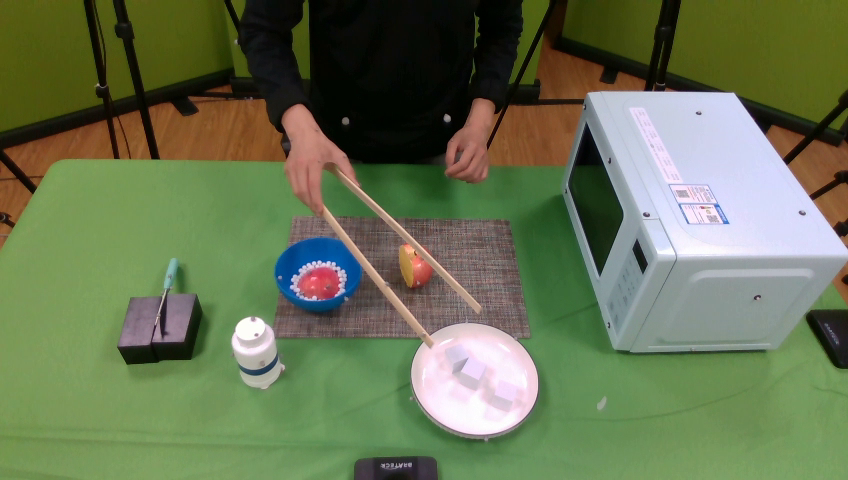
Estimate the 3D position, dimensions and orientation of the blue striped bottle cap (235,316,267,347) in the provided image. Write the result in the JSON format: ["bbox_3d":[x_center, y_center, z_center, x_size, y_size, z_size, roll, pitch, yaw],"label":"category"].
[{"bbox_3d":[-0.259,0.137,0.907,0.044,0.021,0.044,2,43,-2],"label":"blue striped bottle cap"}]

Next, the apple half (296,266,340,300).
[{"bbox_3d":[-0.186,0.070,1.067,0.081,0.033,0.081,2,48,-2],"label":"apple half"}]

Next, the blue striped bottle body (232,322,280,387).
[{"bbox_3d":[-0.262,0.171,0.944,0.063,0.121,0.062,2,46,-2],"label":"blue striped bottle body"}]

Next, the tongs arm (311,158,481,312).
[{"bbox_3d":[-0.050,-0.016,0.995,0.386,0.028,0.028,42,66,17],"label":"tongs arm"}]

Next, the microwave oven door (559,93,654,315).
[{"bbox_3d":[0.327,-0.074,1.123,0.039,0.245,0.353,0,46,-5],"label":"microwave oven door"}]

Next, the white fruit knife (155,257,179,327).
[{"bbox_3d":[-0.440,0.085,1.037,0.016,0.027,0.206,10,26,-19],"label":"white fruit knife"}]

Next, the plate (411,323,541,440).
[{"bbox_3d":[0.082,0.228,0.976,0.208,0.039,0.206,2,45,-2],"label":"plate"}]

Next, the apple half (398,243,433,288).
[{"bbox_3d":[-0.012,0.047,1.115,0.053,0.075,0.080,-11,44,-19],"label":"apple half"}]

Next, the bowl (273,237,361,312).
[{"bbox_3d":[-0.186,0.074,1.069,0.151,0.077,0.150,3,46,-3],"label":"bowl"}]

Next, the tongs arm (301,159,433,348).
[{"bbox_3d":[-0.093,0.012,0.970,0.051,0.026,0.383,-33,68,-24],"label":"tongs arm"}]

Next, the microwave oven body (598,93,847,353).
[{"bbox_3d":[0.475,-0.041,1.109,0.326,0.261,0.438,-1,45,-4],"label":"microwave oven body"}]

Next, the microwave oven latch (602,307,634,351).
[{"bbox_3d":[0.332,0.153,1.044,0.030,0.029,0.078,-1,45,-4],"label":"microwave oven latch"}]
